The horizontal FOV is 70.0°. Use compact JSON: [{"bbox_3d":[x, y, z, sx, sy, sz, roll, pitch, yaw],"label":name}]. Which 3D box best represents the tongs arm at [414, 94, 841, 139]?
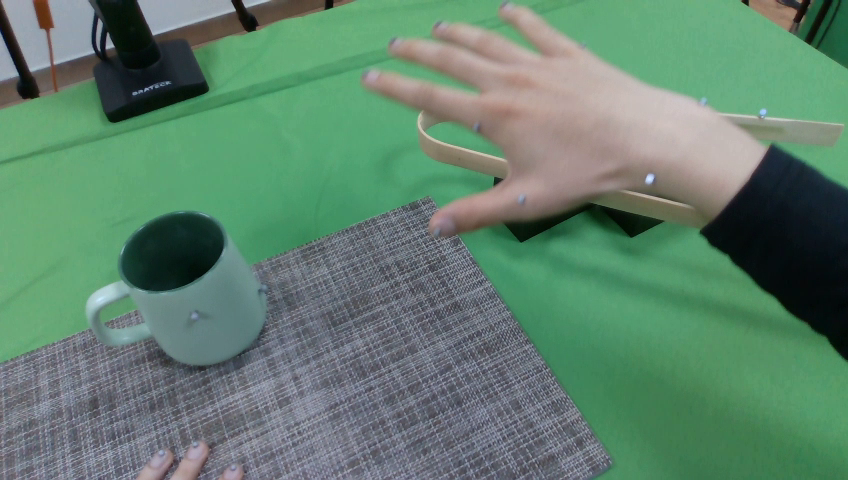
[{"bbox_3d":[0.184,-0.108,0.570,0.384,0.027,0.050,7,57,8],"label":"tongs arm"}]

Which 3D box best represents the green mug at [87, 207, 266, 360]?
[{"bbox_3d":[-0.196,0.043,0.480,0.125,0.106,0.091,-24,55,-15],"label":"green mug"}]

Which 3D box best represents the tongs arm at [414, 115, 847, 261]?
[{"bbox_3d":[0.164,-0.047,0.527,0.386,0.028,0.028,17,62,15],"label":"tongs arm"}]
